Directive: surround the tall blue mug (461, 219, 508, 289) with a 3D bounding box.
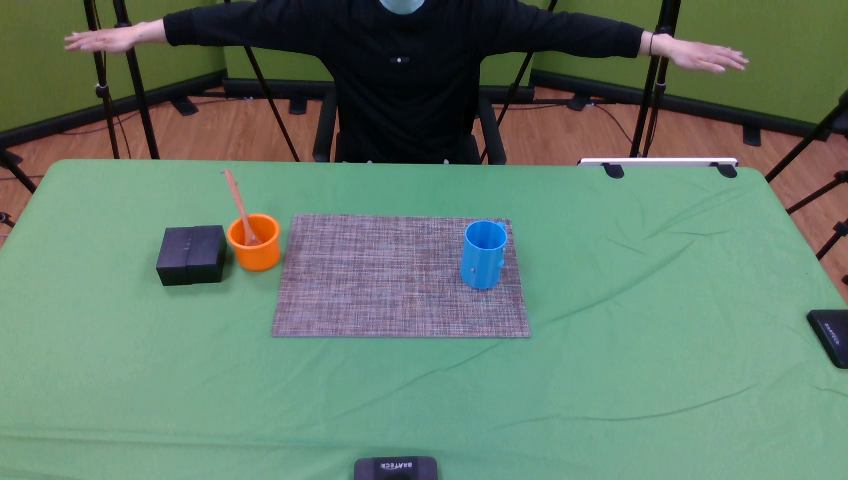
[{"bbox_3d":[0.111,0.016,1.122,0.078,0.108,0.106,6,46,4],"label":"tall blue mug"}]

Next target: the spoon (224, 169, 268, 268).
[{"bbox_3d":[-0.333,-0.040,1.124,0.041,0.194,0.021,-18,6,-18],"label":"spoon"}]
